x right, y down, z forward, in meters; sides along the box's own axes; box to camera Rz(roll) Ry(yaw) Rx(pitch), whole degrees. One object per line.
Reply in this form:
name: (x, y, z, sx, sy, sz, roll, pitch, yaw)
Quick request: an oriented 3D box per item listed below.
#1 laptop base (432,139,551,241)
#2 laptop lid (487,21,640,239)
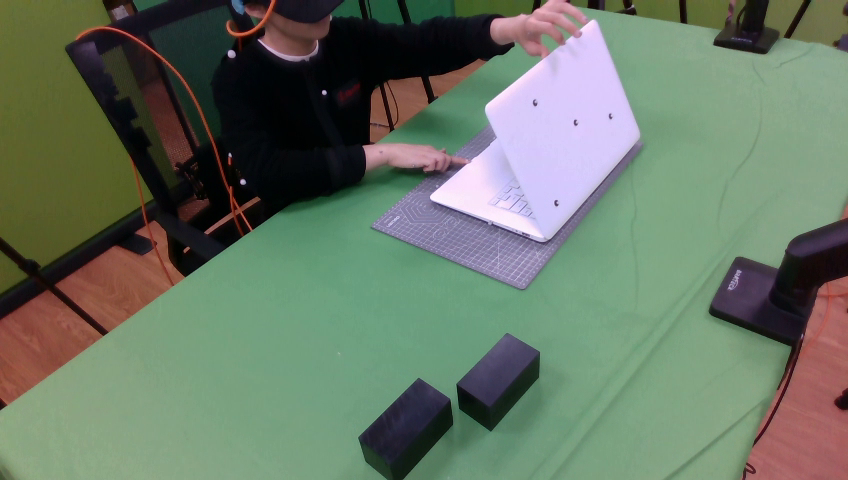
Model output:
laptop base: (0.208, -0.129, 1.098, 0.233, 0.023, 0.355, 20, 47, 34)
laptop lid: (0.247, -0.191, 0.992, 0.013, 0.242, 0.358, -5, 29, 49)
